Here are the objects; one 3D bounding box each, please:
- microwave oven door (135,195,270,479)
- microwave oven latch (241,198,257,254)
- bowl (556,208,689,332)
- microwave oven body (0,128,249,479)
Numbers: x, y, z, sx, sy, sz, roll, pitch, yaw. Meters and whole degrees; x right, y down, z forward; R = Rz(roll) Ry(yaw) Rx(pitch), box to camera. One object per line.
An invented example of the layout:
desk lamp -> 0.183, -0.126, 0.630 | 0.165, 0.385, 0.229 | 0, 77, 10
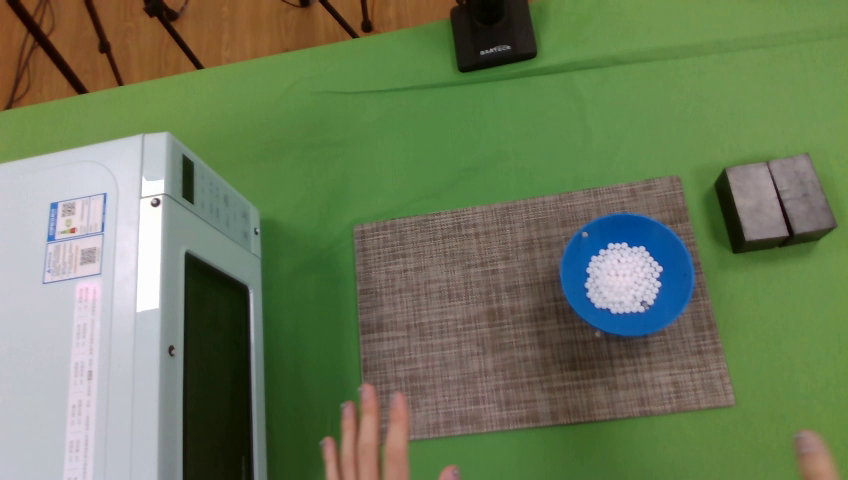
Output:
microwave oven door -> -0.245, 0.155, 0.687 | 0.039, 0.245, 0.353 | -11, 71, 7
microwave oven latch -> -0.254, -0.018, 0.852 | 0.030, 0.030, 0.078 | -10, 72, 6
bowl -> 0.237, 0.044, 0.742 | 0.151, 0.077, 0.150 | -3, 72, 9
microwave oven body -> -0.393, 0.143, 0.721 | 0.326, 0.262, 0.438 | -10, 72, 6
